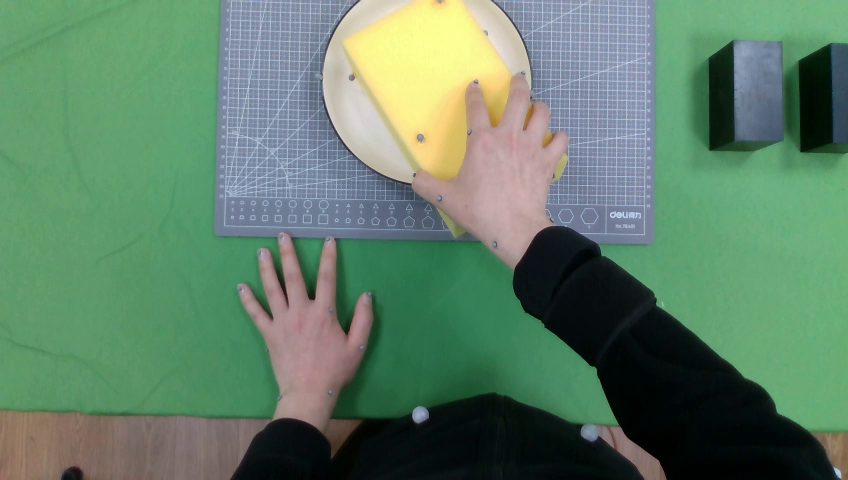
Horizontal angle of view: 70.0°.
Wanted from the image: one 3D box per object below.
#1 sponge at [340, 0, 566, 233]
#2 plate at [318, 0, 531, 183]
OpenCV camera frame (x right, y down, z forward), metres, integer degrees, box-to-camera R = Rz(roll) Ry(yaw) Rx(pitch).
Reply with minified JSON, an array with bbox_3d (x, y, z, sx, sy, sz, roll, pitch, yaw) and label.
[{"bbox_3d":[0.025,-0.125,0.571,0.118,0.061,0.206,-31,79,-4],"label":"sponge"},{"bbox_3d":[0.002,-0.158,0.608,0.209,0.038,0.209,0,88,-3],"label":"plate"}]
